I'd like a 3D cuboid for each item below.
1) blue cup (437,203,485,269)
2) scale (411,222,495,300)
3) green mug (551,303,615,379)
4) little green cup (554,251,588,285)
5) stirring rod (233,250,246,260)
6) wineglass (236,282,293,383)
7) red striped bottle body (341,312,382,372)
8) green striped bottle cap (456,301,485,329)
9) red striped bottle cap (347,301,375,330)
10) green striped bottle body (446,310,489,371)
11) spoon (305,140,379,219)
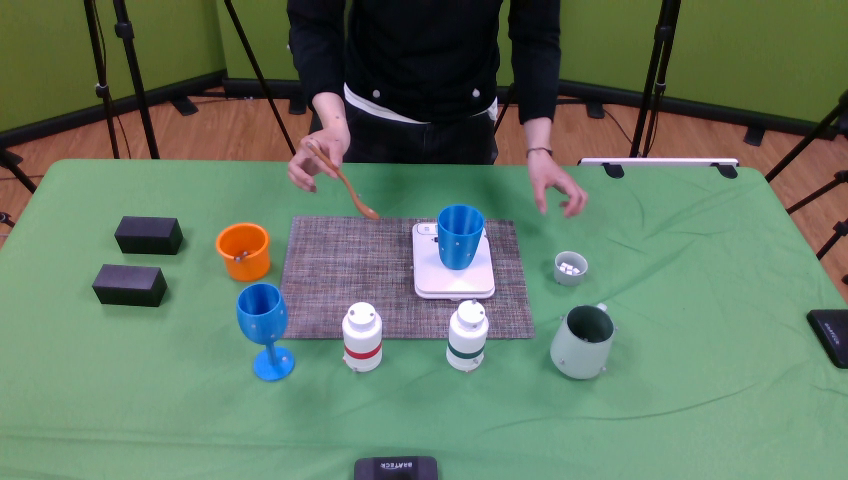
[{"bbox_3d":[0.062,-0.001,1.098,0.093,0.101,0.092,2,44,-2],"label":"blue cup"},{"bbox_3d":[0.052,0.031,1.158,0.149,0.032,0.199,1,46,-4],"label":"scale"},{"bbox_3d":[0.271,0.157,1.007,0.092,0.105,0.125,27,50,21],"label":"green mug"},{"bbox_3d":[0.277,0.055,1.151,0.061,0.039,0.061,1,46,-1],"label":"little green cup"},{"bbox_3d":[-0.324,0.026,1.067,0.014,0.006,0.176,-9,5,-13],"label":"stirring rod"},{"bbox_3d":[-0.243,0.143,0.934,0.074,0.173,0.073,2,46,-2],"label":"wineglass"},{"bbox_3d":[-0.100,0.154,0.972,0.063,0.120,0.062,2,46,-1],"label":"red striped bottle body"},{"bbox_3d":[0.073,0.116,0.943,0.044,0.020,0.044,3,46,-3],"label":"green striped bottle cap"},{"bbox_3d":[-0.097,0.116,0.934,0.044,0.018,0.044,2,49,-2],"label":"red striped bottle cap"},{"bbox_3d":[0.070,0.155,0.984,0.063,0.120,0.063,2,46,-2],"label":"green striped bottle body"},{"bbox_3d":[-0.135,-0.099,1.014,0.021,0.195,0.041,-34,37,3],"label":"spoon"}]
